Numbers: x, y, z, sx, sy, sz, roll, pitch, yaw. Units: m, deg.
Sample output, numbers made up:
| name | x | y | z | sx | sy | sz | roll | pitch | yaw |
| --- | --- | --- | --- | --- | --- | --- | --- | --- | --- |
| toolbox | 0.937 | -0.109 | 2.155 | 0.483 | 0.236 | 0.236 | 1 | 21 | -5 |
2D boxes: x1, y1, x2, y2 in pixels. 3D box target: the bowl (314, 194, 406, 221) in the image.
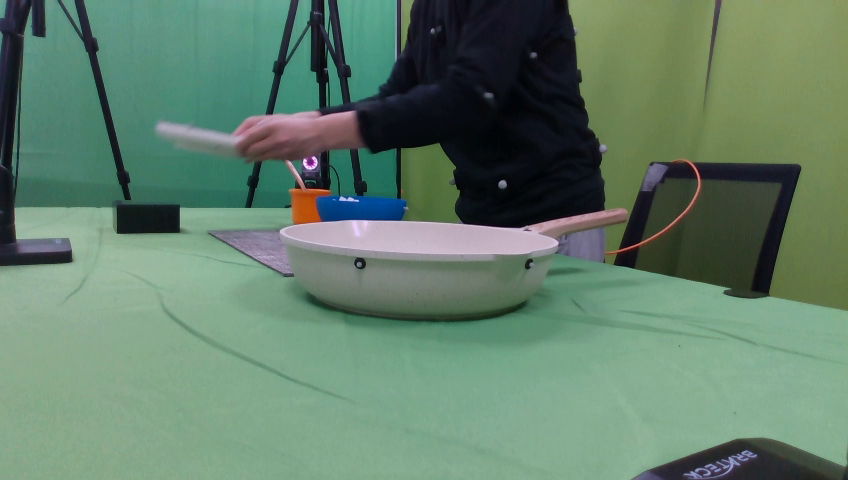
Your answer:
| name | x | y | z | sx | sy | sz | roll | pitch | yaw |
| --- | --- | --- | --- | --- | --- | --- | --- | --- | --- |
| bowl | -0.105 | -0.032 | 0.991 | 0.151 | 0.077 | 0.151 | 2 | 7 | 0 |

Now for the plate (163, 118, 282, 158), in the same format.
| name | x | y | z | sx | sy | sz | roll | pitch | yaw |
| --- | --- | --- | --- | --- | --- | --- | --- | --- | --- |
| plate | -0.368 | -0.182 | 1.106 | 0.208 | 0.039 | 0.207 | 11 | 5 | -1 |

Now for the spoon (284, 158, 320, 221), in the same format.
| name | x | y | z | sx | sy | sz | roll | pitch | yaw |
| --- | --- | --- | --- | --- | --- | --- | --- | --- | --- |
| spoon | -0.269 | -0.113 | 1.335 | 0.042 | 0.193 | 0.021 | -3 | -35 | -43 |

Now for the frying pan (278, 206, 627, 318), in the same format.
| name | x | y | z | sx | sy | sz | roll | pitch | yaw |
| --- | --- | --- | --- | --- | --- | --- | --- | --- | --- |
| frying pan | 0.079 | 0.002 | 0.705 | 0.490 | 0.102 | 0.305 | -12 | 15 | -33 |
